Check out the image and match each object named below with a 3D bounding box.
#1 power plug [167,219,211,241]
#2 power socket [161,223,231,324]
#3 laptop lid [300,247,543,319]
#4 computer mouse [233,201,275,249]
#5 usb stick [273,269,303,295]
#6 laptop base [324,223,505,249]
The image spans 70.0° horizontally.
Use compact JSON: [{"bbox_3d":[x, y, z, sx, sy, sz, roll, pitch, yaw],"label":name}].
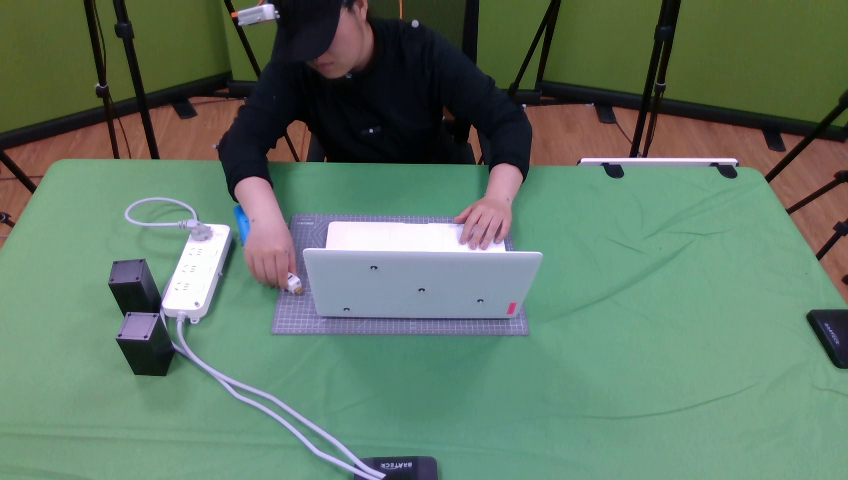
[{"bbox_3d":[-0.439,-0.017,1.143,0.072,0.053,0.035,10,43,5],"label":"power plug"},{"bbox_3d":[-0.412,0.051,1.106,0.072,0.033,0.225,4,46,-2],"label":"power socket"},{"bbox_3d":[-0.007,0.075,0.963,0.357,0.242,0.013,2,58,-4],"label":"laptop lid"},{"bbox_3d":[-0.336,-0.033,1.193,0.063,0.041,0.116,-12,53,-19],"label":"computer mouse"},{"bbox_3d":[-0.244,0.078,1.096,0.059,0.027,0.021,31,59,22],"label":"usb stick"},{"bbox_3d":[-0.016,0.054,1.146,0.354,0.023,0.234,1,43,-3],"label":"laptop base"}]
